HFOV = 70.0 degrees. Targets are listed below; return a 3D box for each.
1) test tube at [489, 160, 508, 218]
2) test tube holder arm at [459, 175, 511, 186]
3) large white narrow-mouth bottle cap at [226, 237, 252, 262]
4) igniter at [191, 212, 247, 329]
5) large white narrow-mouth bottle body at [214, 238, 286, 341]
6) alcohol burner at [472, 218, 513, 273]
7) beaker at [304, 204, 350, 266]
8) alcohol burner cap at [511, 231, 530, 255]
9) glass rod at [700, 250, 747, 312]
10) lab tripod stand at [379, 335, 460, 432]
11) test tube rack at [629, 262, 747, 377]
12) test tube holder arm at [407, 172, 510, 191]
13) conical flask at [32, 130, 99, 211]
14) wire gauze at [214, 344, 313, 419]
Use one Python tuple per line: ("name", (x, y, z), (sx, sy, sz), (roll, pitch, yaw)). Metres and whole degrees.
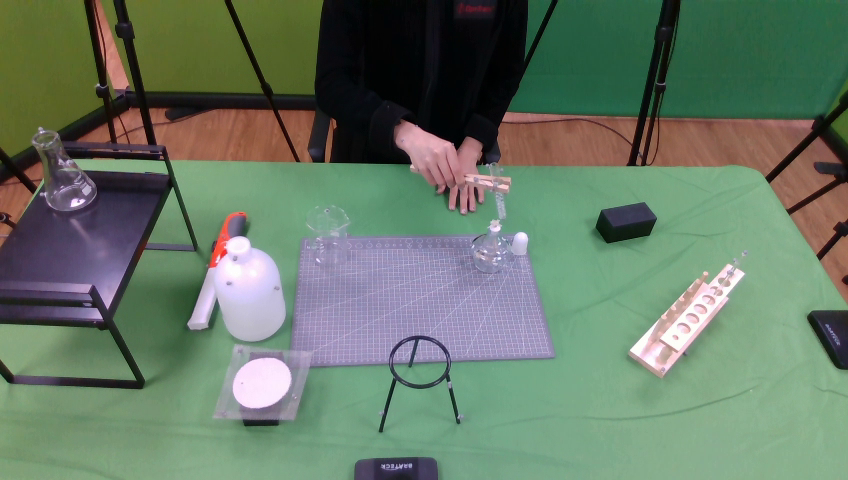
("test tube", (0.127, -0.082, 1.020), (0.017, 0.151, 0.017), (-7, 57, 10))
("test tube holder arm", (0.100, -0.099, 1.008), (0.088, 0.015, 0.010), (4, 42, 13))
("large white narrow-mouth bottle cap", (-0.282, 0.014, 0.923), (0.038, 0.024, 0.037), (2, 46, -2))
("igniter", (-0.376, 0.047, 1.121), (0.057, 0.025, 0.275), (-4, 46, 6))
("large white narrow-mouth bottle body", (-0.285, 0.073, 0.986), (0.102, 0.195, 0.101), (2, 46, -2))
("alcohol burner", (0.128, 0.005, 1.132), (0.078, 0.120, 0.077), (0, 47, 0))
("beaker", (-0.178, -0.006, 1.132), (0.084, 0.101, 0.073), (4, 46, -1))
("alcohol burner cap", (0.191, 0.003, 1.187), (0.034, 0.048, 0.033), (3, 44, -3))
("glass rod", (0.500, 0.075, 1.021), (0.008, 0.201, 0.008), (0, 55, 1))
("lab tripod stand", (-0.010, 0.214, 0.911), (0.148, 0.132, 0.147), (1, 45, 0))
("test tube rack", (0.464, 0.126, 1.061), (0.242, 0.085, 0.066), (-34, 56, -30))
("test tube holder arm", (0.056, -0.099, 1.016), (0.178, 0.015, 0.013), (7, 42, 15))
("conical flask", (-0.565, -0.111, 0.944), (0.075, 0.122, 0.075), (2, 46, -2))
("wire gauze", (-0.241, 0.213, 0.915), (0.121, 0.011, 0.124), (5, 46, 1))
